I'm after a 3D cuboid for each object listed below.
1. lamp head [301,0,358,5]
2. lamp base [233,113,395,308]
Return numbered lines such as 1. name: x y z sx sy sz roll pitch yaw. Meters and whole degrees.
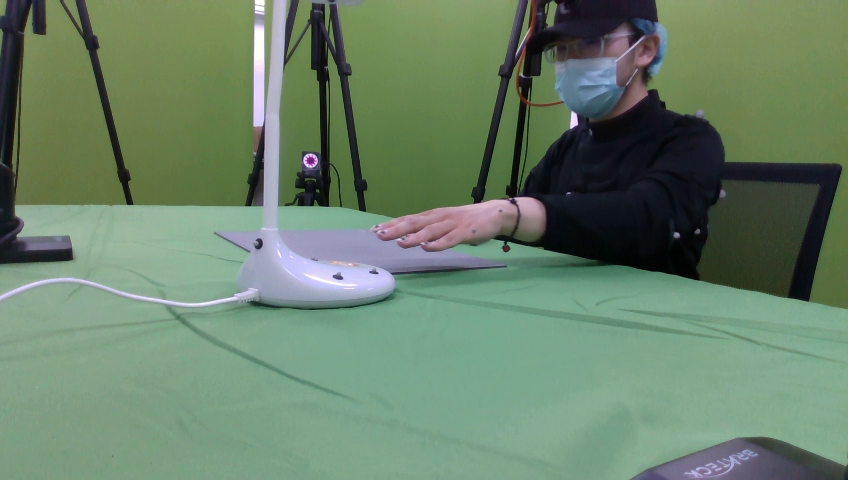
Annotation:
1. lamp head: -0.095 -0.314 0.610 0.112 0.123 0.112 -4 50 5
2. lamp base: -0.113 -0.033 0.600 0.160 0.180 0.180 6 11 28
